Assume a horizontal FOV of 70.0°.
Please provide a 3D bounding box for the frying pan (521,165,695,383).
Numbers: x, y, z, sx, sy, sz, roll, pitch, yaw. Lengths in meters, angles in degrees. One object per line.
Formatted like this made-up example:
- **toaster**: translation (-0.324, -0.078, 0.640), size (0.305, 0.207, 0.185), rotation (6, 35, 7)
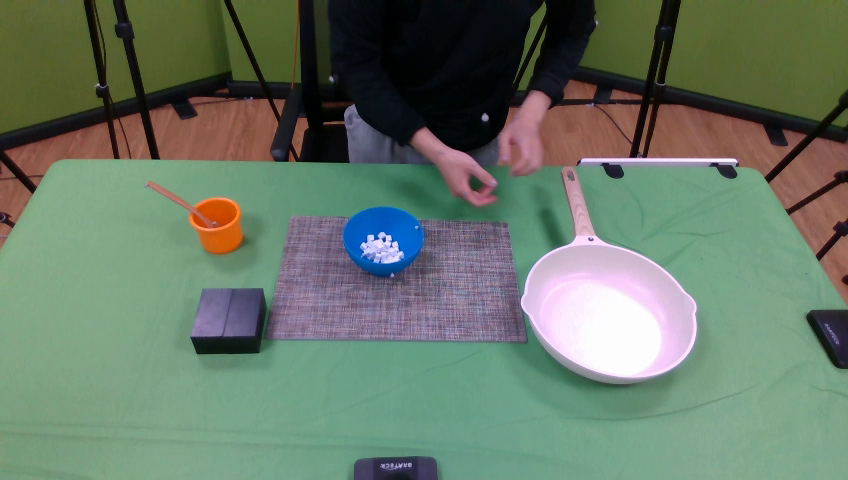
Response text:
- **frying pan**: translation (0.312, 0.044, 1.123), size (0.307, 0.103, 0.484), rotation (1, 55, -5)

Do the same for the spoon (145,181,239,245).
- **spoon**: translation (-0.429, -0.052, 1.126), size (0.021, 0.195, 0.041), rotation (-27, 34, 33)

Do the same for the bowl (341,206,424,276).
- **bowl**: translation (-0.079, 0.014, 1.133), size (0.151, 0.077, 0.150), rotation (2, 46, -2)
